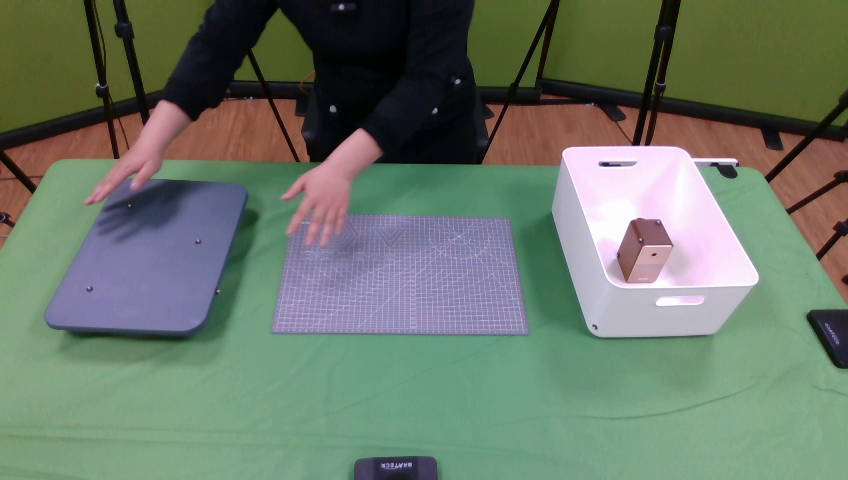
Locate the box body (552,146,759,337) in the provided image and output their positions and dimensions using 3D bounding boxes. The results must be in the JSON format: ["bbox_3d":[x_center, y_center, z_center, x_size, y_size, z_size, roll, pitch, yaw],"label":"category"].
[{"bbox_3d":[0.401,-0.001,1.131,0.254,0.161,0.361,-1,46,-5],"label":"box body"}]

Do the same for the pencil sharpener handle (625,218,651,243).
[{"bbox_3d":[0.407,-0.025,1.167,0.036,0.068,0.030,5,44,-10],"label":"pencil sharpener handle"}]

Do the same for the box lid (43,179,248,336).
[{"bbox_3d":[-0.484,0.017,1.093,0.263,0.015,0.369,2,46,-2],"label":"box lid"}]

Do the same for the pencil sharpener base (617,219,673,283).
[{"bbox_3d":[0.412,0.020,1.140,0.061,0.107,0.076,-1,45,-4],"label":"pencil sharpener base"}]
